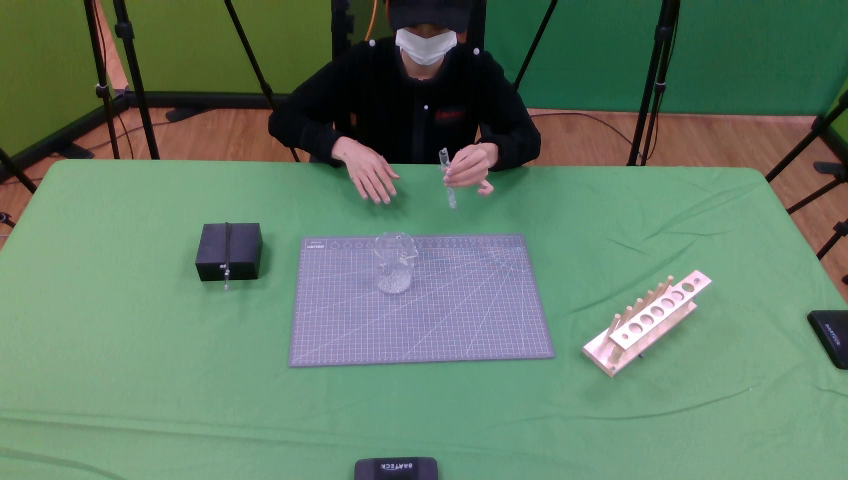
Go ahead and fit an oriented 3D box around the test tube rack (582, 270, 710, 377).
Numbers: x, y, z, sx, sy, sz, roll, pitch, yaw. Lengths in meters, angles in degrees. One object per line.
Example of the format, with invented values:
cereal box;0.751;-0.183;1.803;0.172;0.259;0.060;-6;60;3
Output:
test tube rack;0.389;0.132;1.057;0.242;0.085;0.066;-28;54;-28

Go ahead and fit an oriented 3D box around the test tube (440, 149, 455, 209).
test tube;0.043;-0.108;1.111;0.017;0.151;0.017;-4;52;5

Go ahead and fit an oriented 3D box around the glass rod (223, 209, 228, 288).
glass rod;-0.360;0.010;1.098;0.008;0.008;0.198;-7;47;-12

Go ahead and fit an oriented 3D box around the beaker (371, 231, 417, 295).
beaker;-0.054;0.045;1.093;0.084;0.101;0.073;17;47;11
